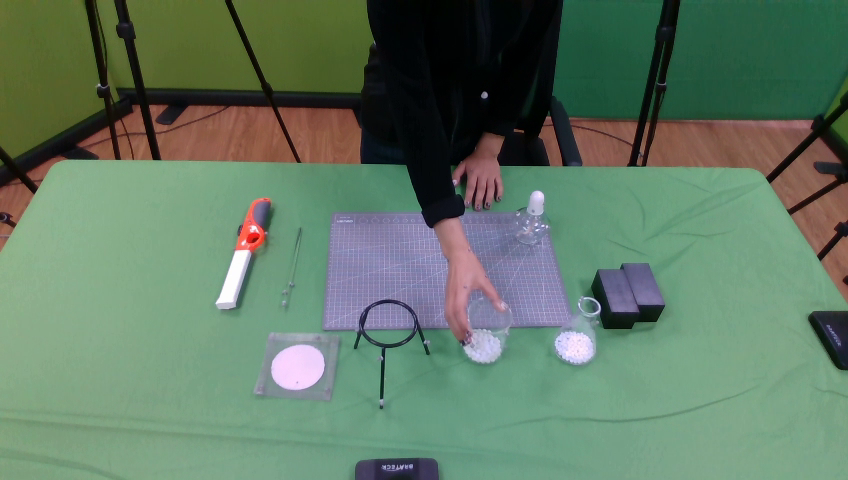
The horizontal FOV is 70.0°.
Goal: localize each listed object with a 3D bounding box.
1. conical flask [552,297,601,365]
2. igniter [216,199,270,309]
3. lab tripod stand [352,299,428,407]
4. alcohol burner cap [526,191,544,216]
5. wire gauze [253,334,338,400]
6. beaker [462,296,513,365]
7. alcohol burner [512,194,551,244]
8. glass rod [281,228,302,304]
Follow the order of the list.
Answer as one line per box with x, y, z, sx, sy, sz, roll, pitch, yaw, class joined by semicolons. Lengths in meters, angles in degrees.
0.261;0.147;1.009;0.075;0.122;0.075;2;46;-2;conical flask
-0.341;0.016;1.153;0.057;0.025;0.275;-3;45;7;igniter
-0.055;0.166;0.958;0.148;0.132;0.147;3;44;-2;lab tripod stand
0.216;-0.073;1.170;0.034;0.048;0.033;0;42;0;alcohol burner cap
-0.209;0.204;0.996;0.125;0.011;0.120;3;45;1;wire gauze
0.100;0.154;1.002;0.084;0.101;0.073;-29;55;-29;beaker
0.215;-0.048;1.196;0.078;0.119;0.077;4;46;-4;alcohol burner
-0.250;0.045;1.146;0.008;0.008;0.198;3;43;-1;glass rod
